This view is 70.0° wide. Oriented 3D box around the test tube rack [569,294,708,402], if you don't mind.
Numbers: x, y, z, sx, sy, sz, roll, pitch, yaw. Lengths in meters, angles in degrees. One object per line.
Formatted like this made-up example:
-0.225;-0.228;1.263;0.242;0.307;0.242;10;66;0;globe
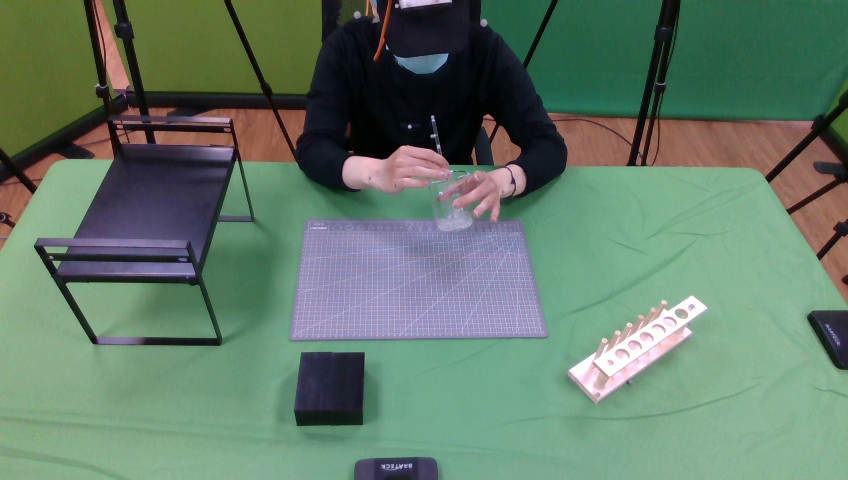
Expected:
0.360;0.167;1.015;0.242;0.085;0.066;-25;52;-25;test tube rack

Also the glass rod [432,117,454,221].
0.034;-0.123;1.086;0.008;0.200;0.008;-10;25;5;glass rod

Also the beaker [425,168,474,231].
0.052;-0.072;1.093;0.084;0.100;0.074;-8;20;10;beaker
